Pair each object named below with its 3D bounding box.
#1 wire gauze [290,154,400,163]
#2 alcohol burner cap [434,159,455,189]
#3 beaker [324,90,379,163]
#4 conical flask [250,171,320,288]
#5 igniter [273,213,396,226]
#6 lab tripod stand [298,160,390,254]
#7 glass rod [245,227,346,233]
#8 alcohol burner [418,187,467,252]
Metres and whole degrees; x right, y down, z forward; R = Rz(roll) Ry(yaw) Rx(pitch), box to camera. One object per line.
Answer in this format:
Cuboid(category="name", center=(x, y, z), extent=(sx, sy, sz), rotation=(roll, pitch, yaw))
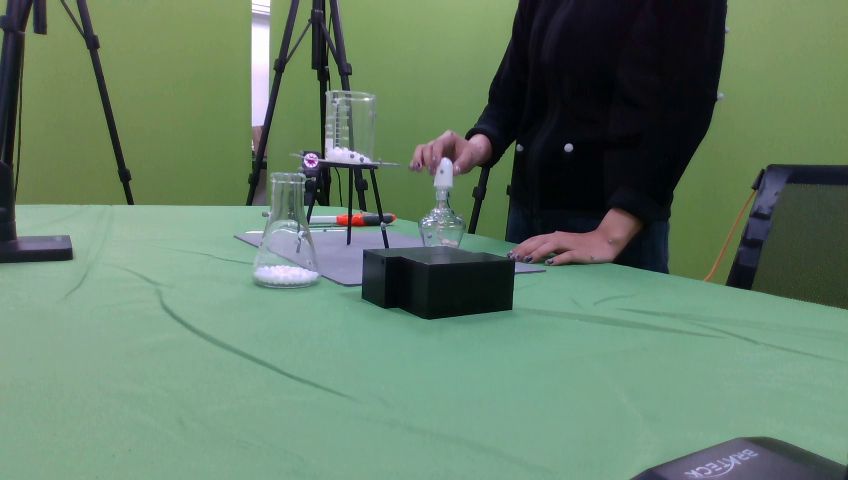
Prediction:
Cuboid(category="wire gauze", center=(-0.112, -0.114, 0.883), extent=(0.124, 0.011, 0.122), rotation=(5, 5, 28))
Cuboid(category="alcohol burner cap", center=(0.032, -0.104, 0.948), extent=(0.034, 0.048, 0.034), rotation=(0, 3, 0))
Cuboid(category="beaker", center=(-0.110, -0.162, 0.879), extent=(0.083, 0.100, 0.074), rotation=(8, 7, 36))
Cuboid(category="conical flask", center=(-0.150, -0.013, 0.658), extent=(0.075, 0.122, 0.075), rotation=(2, 7, 0))
Cuboid(category="igniter", center=(-0.179, -0.044, 1.258), extent=(0.278, 0.025, 0.057), rotation=(-3, -1, -39))
Cuboid(category="lab tripod stand", center=(-0.111, -0.050, 0.893), extent=(0.148, 0.131, 0.148), rotation=(4, 6, 0))
Cuboid(category="glass rod", center=(-0.236, -0.021, 1.140), extent=(0.201, 0.008, 0.008), rotation=(-2, 8, -33))
Cuboid(category="alcohol burner", center=(0.029, -0.042, 0.954), extent=(0.078, 0.119, 0.078), rotation=(0, 6, 0))
